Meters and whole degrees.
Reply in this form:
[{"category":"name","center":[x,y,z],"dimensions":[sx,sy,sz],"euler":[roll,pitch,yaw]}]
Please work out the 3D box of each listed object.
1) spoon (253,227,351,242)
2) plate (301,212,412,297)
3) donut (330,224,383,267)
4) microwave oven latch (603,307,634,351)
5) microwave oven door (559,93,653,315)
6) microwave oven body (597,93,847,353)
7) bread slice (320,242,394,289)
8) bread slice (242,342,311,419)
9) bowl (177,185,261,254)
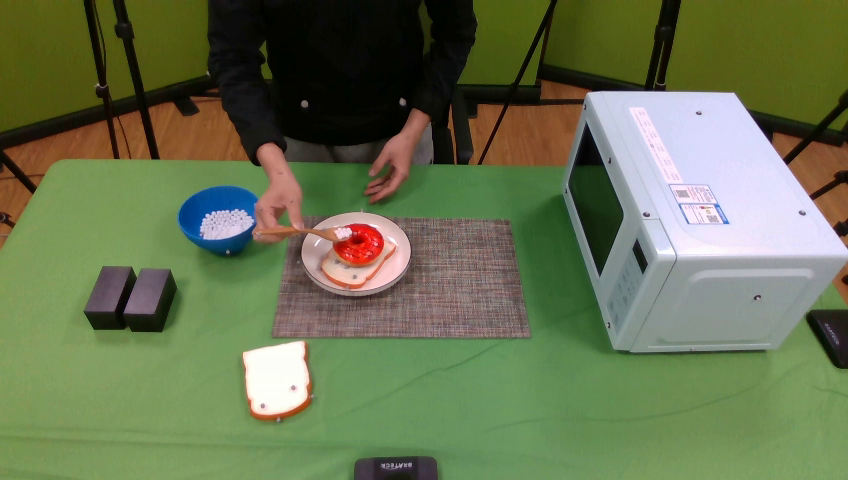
[{"category":"spoon","center":[-0.204,-0.014,1.031],"dimensions":[0.194,0.021,0.041],"euler":[5,34,-49]},{"category":"plate","center":[-0.126,0.031,1.145],"dimensions":[0.208,0.039,0.206],"euler":[2,46,-2]},{"category":"donut","center":[-0.125,0.010,1.127],"dimensions":[0.099,0.048,0.098],"euler":[3,46,-3]},{"category":"microwave oven latch","center":[0.332,0.153,1.044],"dimensions":[0.030,0.029,0.078],"euler":[0,45,-4]},{"category":"microwave oven door","center":[0.327,-0.074,1.123],"dimensions":[0.039,0.245,0.353],"euler":[-1,46,-5]},{"category":"microwave oven body","center":[0.475,-0.041,1.109],"dimensions":[0.326,0.261,0.438],"euler":[-1,45,-4]},{"category":"bread slice","center":[-0.130,0.038,1.142],"dimensions":[0.107,0.018,0.134],"euler":[19,45,14]},{"category":"bread slice","center":[-0.234,0.223,0.970],"dimensions":[0.105,0.019,0.130],"euler":[-10,46,-13]},{"category":"bowl","center":[-0.383,-0.026,1.158],"dimensions":[0.151,0.077,0.150],"euler":[2,46,-2]}]
